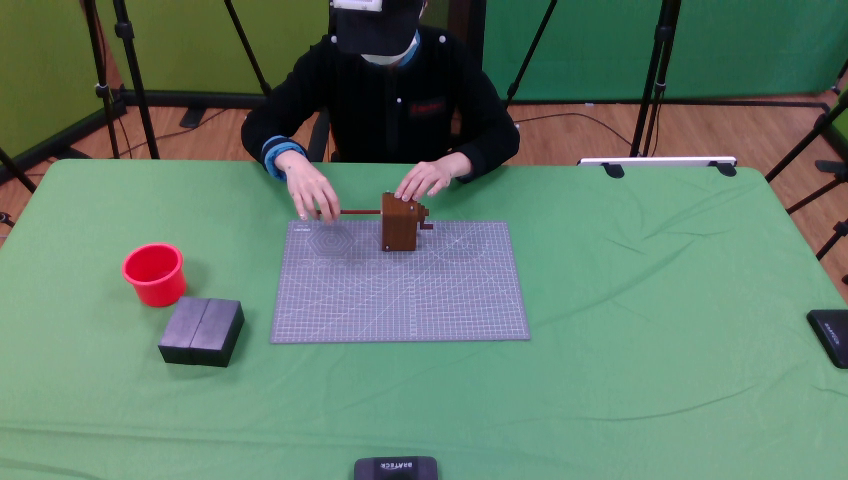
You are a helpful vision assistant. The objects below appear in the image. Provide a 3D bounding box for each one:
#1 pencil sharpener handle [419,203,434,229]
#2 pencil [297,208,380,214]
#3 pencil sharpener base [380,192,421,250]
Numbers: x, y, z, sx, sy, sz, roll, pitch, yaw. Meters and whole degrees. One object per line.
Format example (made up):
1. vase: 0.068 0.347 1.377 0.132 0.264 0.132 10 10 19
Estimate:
1. pencil sharpener handle: 0.006 -0.045 1.160 0.031 0.068 0.036 0 53 -4
2. pencil: -0.142 -0.055 1.144 0.194 0.012 0.012 -1 46 -2
3. pencil sharpener base: -0.046 -0.035 1.163 0.077 0.107 0.061 0 46 -4
